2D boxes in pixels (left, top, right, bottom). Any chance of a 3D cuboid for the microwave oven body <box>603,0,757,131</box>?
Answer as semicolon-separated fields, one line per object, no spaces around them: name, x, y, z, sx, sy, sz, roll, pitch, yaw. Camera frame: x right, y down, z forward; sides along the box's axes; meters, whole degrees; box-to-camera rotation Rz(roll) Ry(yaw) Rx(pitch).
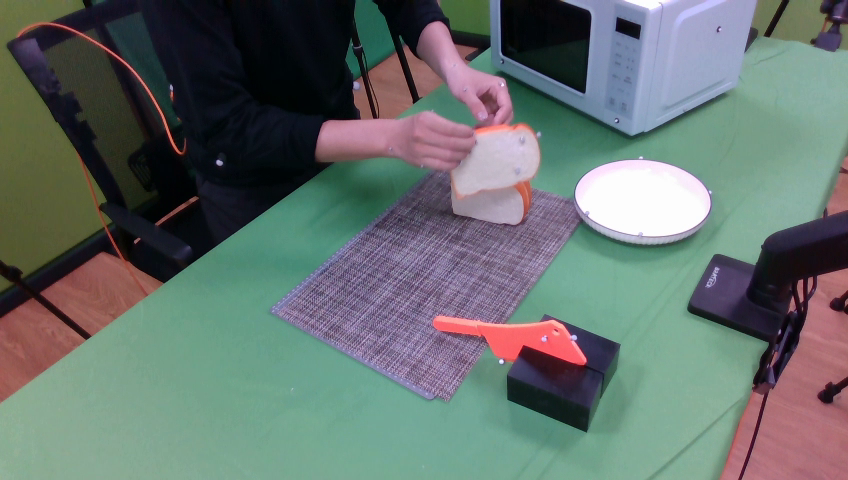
microwave oven body;0.396;-0.448;1.248;0.327;0.261;0.437;-27;44;-21

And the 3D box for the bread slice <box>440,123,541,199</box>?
bread slice;0.097;-0.117;0.858;0.134;0.107;0.018;-14;41;11

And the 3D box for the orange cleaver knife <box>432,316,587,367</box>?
orange cleaver knife;0.101;0.127;0.761;0.210;0.077;0.012;-1;34;40

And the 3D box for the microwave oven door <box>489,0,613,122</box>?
microwave oven door;0.250;-0.412;1.219;0.039;0.245;0.352;-27;44;-21

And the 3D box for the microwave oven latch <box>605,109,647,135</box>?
microwave oven latch;0.378;-0.225;1.139;0.030;0.029;0.078;-26;43;-19

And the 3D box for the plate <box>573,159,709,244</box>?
plate;0.347;-0.059;0.978;0.207;0.039;0.206;-4;41;4
